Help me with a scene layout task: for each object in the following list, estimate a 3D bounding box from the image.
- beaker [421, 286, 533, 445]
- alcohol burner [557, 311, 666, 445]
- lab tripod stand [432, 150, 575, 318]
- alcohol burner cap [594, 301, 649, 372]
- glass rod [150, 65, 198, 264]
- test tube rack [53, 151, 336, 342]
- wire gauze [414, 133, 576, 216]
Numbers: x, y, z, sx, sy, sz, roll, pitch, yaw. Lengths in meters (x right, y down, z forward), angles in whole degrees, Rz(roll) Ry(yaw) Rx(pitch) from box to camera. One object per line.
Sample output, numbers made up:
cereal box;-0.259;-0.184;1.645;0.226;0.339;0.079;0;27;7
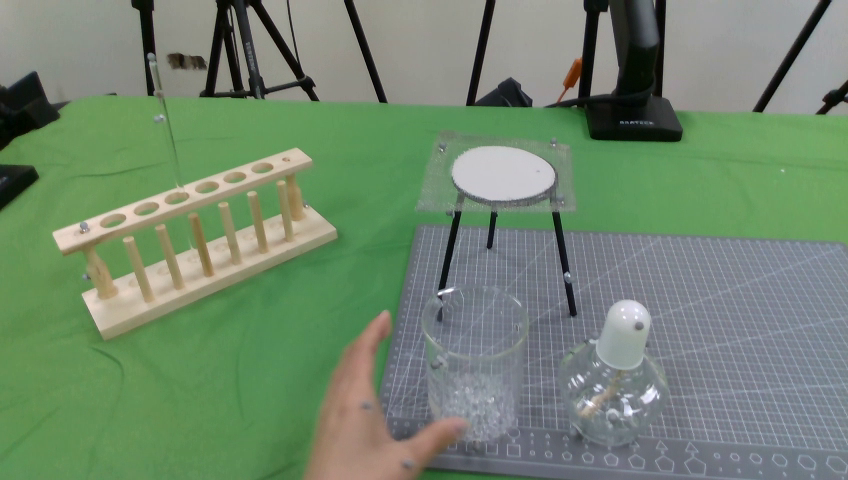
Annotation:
beaker;0.034;0.093;0.445;0.074;0.101;0.083;-27;43;-30
alcohol burner;0.136;0.091;0.431;0.078;0.120;0.077;-1;39;1
lab tripod stand;0.072;-0.002;0.542;0.148;0.132;0.147;0;36;0
alcohol burner cap;0.136;0.062;0.410;0.034;0.048;0.033;1;39;0
glass rod;-0.234;-0.063;0.570;0.008;0.201;0.008;1;30;0
test tube rack;-0.212;-0.002;0.597;0.243;0.086;0.066;-26;43;-29
wire gauze;0.061;-0.055;0.500;0.121;0.011;0.124;5;38;7
